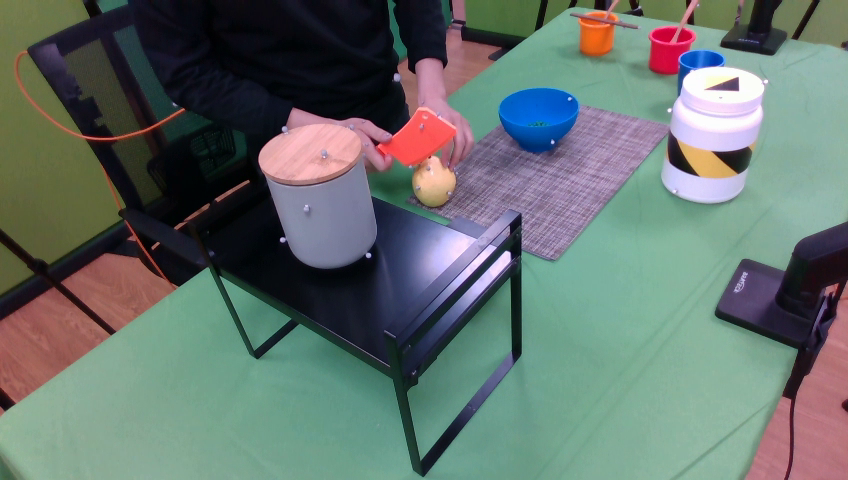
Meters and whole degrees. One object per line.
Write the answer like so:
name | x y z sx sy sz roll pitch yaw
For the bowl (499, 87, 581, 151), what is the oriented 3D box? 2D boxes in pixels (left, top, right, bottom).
bowl | 0.220 -0.223 1.156 0.151 0.077 0.150 -4 40 4

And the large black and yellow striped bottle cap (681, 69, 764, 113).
large black and yellow striped bottle cap | 0.453 -0.229 0.921 0.115 0.019 0.114 -4 39 4

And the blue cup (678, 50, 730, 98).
blue cup | 0.542 -0.310 1.194 0.092 0.101 0.092 -6 40 6

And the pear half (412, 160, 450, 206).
pear half | 0.008 -0.091 1.025 0.070 0.088 0.031 10 43 14

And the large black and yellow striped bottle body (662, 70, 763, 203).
large black and yellow striped bottle body | 0.464 -0.166 0.976 0.131 0.185 0.130 -5 41 5

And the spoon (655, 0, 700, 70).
spoon | 0.568 -0.463 1.337 0.041 0.022 0.193 30 97 37

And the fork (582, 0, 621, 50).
fork | 0.446 -0.539 1.438 0.207 0.019 0.028 -57 35 12

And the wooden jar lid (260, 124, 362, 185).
wooden jar lid | -0.119 -0.088 0.644 0.108 0.021 0.108 -4 40 3

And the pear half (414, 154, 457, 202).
pear half | 0.021 -0.121 1.044 0.076 0.110 0.056 12 45 16

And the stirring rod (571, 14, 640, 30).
stirring rod | 0.419 -0.508 1.404 0.174 0.006 0.014 28 55 35

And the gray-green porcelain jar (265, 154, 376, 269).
gray-green porcelain jar | -0.112 -0.039 0.685 0.106 0.127 0.105 -4 40 4

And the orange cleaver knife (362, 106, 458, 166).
orange cleaver knife | -0.033 -0.151 0.977 0.210 0.078 0.012 -24 34 44
